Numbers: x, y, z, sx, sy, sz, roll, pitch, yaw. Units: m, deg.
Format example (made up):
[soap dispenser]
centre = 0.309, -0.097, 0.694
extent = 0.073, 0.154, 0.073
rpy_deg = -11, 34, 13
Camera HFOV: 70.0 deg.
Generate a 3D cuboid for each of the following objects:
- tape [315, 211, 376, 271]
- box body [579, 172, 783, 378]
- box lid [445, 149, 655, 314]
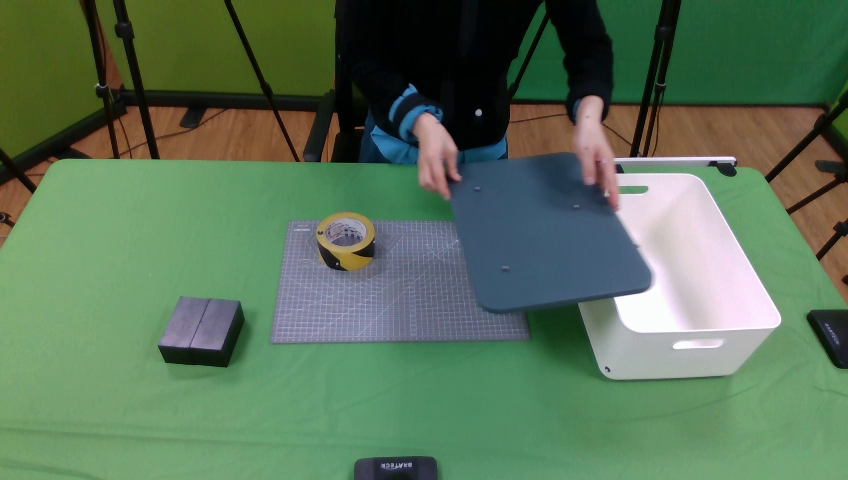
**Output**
[tape]
centre = -0.150, 0.000, 1.160
extent = 0.117, 0.053, 0.116
rpy_deg = 3, 46, -3
[box body]
centre = 0.405, 0.057, 1.074
extent = 0.254, 0.161, 0.361
rpy_deg = -2, 46, -5
[box lid]
centre = 0.186, -0.030, 0.987
extent = 0.263, 0.015, 0.369
rpy_deg = -8, 41, -3
